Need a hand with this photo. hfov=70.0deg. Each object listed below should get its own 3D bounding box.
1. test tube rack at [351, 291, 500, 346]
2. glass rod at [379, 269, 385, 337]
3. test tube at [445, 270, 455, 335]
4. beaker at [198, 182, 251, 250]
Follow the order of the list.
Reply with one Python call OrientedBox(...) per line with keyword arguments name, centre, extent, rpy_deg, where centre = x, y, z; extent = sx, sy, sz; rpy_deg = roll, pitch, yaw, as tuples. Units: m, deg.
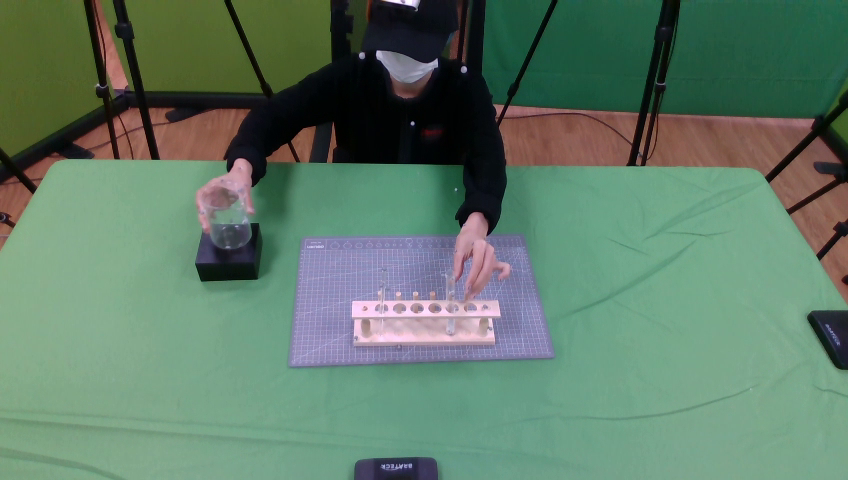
OrientedBox(name="test tube rack", centre=(0.000, 0.129, 1.026), extent=(0.242, 0.085, 0.066), rpy_deg=(0, 46, -4))
OrientedBox(name="glass rod", centre=(-0.066, 0.104, 0.953), extent=(0.008, 0.200, 0.008), rpy_deg=(3, 53, -3))
OrientedBox(name="test tube", centre=(0.042, 0.104, 0.983), extent=(0.017, 0.151, 0.017), rpy_deg=(-1, 44, 1))
OrientedBox(name="beaker", centre=(-0.343, -0.039, 1.058), extent=(0.083, 0.101, 0.074), rpy_deg=(29, 48, 25))
